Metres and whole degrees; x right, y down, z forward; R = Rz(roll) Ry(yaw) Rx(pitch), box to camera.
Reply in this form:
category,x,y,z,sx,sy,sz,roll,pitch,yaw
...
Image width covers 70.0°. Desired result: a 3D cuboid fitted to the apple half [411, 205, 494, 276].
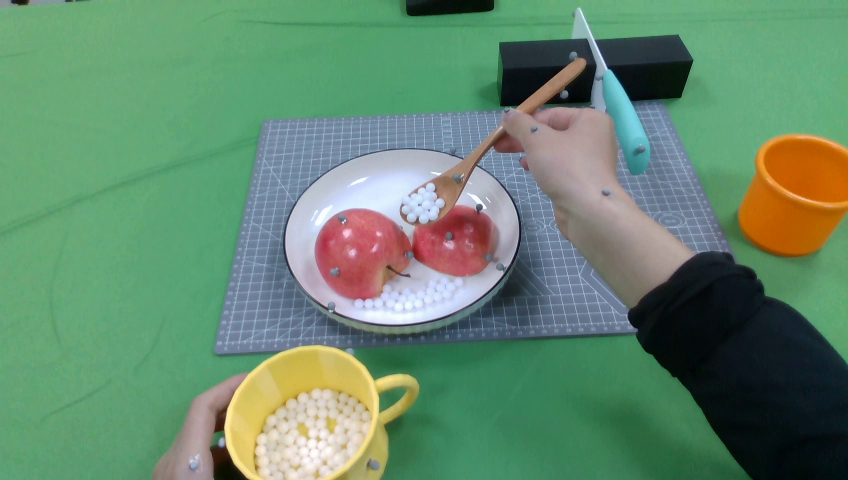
category,x,y,z,sx,sy,sz,roll,pitch,yaw
apple half,0.024,-0.008,0.535,0.081,0.033,0.080,-2,50,3

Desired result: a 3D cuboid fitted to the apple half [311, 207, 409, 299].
category,x,y,z,sx,sy,sz,roll,pitch,yaw
apple half,-0.057,0.003,0.517,0.074,0.054,0.081,35,59,30

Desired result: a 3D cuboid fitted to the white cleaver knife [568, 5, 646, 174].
category,x,y,z,sx,sy,sz,roll,pitch,yaw
white cleaver knife,0.189,-0.164,0.651,0.021,0.066,0.283,-5,46,4

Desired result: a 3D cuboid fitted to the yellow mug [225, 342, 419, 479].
category,x,y,z,sx,sy,sz,roll,pitch,yaw
yellow mug,-0.064,0.124,0.421,0.131,0.064,0.099,-20,53,-16

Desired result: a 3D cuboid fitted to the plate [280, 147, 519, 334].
category,x,y,z,sx,sy,sz,roll,pitch,yaw
plate,-0.021,-0.002,0.540,0.209,0.038,0.207,-1,50,1

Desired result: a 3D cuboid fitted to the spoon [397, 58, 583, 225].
category,x,y,z,sx,sy,sz,roll,pitch,yaw
spoon,0.054,-0.080,0.492,0.194,0.022,0.041,-43,53,8
